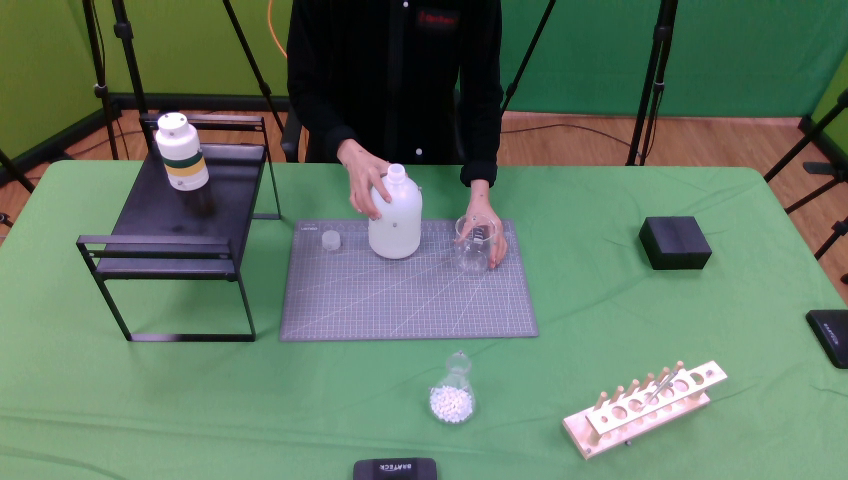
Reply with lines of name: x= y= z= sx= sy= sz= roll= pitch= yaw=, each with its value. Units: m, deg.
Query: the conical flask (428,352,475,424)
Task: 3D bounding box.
conical flask: x=0.046 y=0.220 z=0.920 sx=0.075 sy=0.122 sz=0.075 roll=2 pitch=46 yaw=-2

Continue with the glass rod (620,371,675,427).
glass rod: x=0.316 y=0.230 z=0.863 sx=0.008 sy=0.200 sz=0.008 roll=3 pitch=54 yaw=-3

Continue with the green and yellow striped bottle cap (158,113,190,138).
green and yellow striped bottle cap: x=-0.393 y=-0.180 z=0.951 sx=0.045 sy=0.020 sz=0.045 roll=2 pitch=44 yaw=-2

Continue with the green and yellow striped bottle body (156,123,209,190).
green and yellow striped bottle body: x=-0.395 y=-0.145 z=0.989 sx=0.063 sy=0.120 sz=0.063 roll=2 pitch=46 yaw=-2

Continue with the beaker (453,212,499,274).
beaker: x=0.096 y=0.009 z=1.136 sx=0.084 sy=0.101 sz=0.073 roll=6 pitch=48 yaw=5

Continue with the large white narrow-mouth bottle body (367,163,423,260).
large white narrow-mouth bottle body: x=-0.054 y=-0.059 z=1.128 sx=0.102 sy=0.195 sz=0.101 roll=3 pitch=45 yaw=-3

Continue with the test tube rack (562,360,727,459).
test tube rack: x=0.341 y=0.247 z=0.940 sx=0.243 sy=0.085 sz=0.066 roll=-16 pitch=49 yaw=-18

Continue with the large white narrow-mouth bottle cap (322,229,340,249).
large white narrow-mouth bottle cap: x=-0.182 y=-0.003 z=1.184 sx=0.038 sy=0.024 sz=0.037 roll=3 pitch=45 yaw=-3
